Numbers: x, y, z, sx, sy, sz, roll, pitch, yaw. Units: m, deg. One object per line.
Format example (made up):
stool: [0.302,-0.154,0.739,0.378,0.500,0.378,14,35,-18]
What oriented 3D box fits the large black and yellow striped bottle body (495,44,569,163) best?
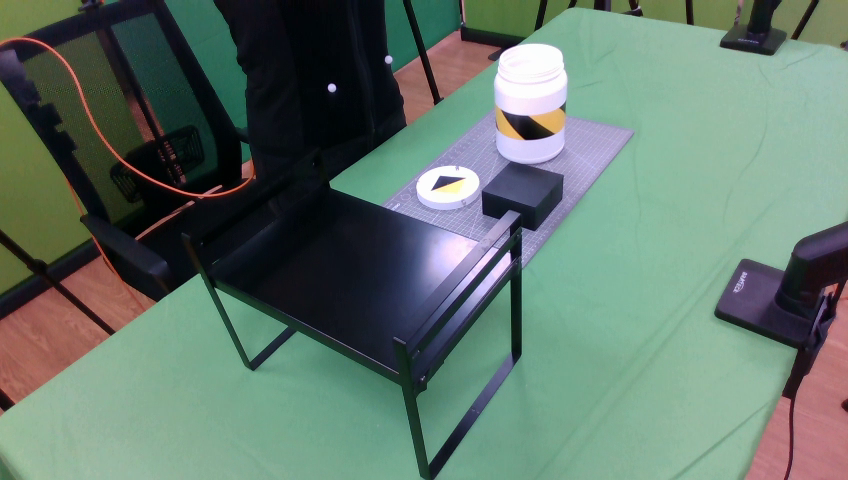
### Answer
large black and yellow striped bottle body: [0.197,-0.250,1.109,0.131,0.185,0.130,-5,41,4]

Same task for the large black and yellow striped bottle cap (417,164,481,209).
large black and yellow striped bottle cap: [0.045,-0.098,1.084,0.115,0.019,0.114,-4,42,4]
